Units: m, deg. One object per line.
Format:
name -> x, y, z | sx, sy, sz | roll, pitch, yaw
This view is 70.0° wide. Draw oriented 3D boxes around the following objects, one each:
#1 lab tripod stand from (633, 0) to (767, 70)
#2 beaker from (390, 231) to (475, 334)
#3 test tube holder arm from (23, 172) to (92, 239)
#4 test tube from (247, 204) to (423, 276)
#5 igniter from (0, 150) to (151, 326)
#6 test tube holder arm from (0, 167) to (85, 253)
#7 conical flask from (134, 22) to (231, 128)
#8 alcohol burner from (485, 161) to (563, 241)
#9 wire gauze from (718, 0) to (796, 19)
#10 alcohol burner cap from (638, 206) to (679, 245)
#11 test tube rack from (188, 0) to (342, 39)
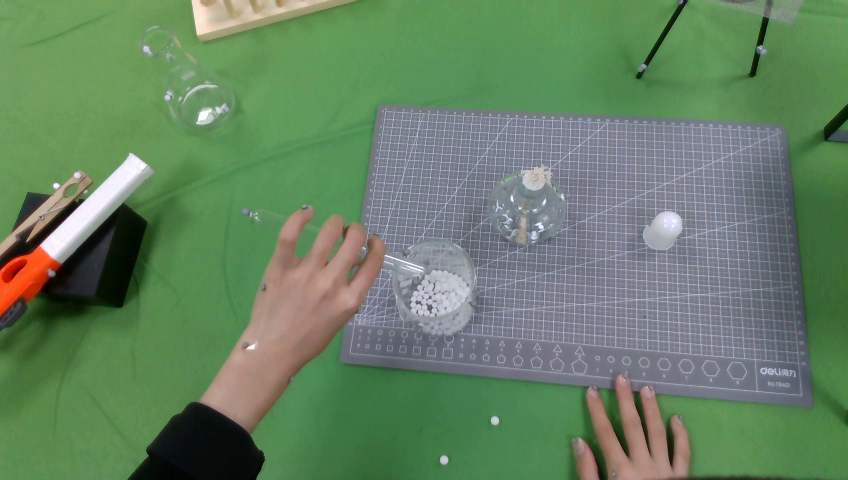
lab tripod stand -> 0.300, -0.248, 0.638 | 0.148, 0.132, 0.147 | -1, 69, 2
beaker -> 0.009, 0.048, 0.570 | 0.073, 0.101, 0.084 | 34, 76, 15
test tube holder arm -> -0.377, -0.035, 0.619 | 0.010, 0.015, 0.087 | 46, 78, -14
test tube -> -0.072, 0.000, 0.503 | 0.151, 0.017, 0.017 | 19, 71, -12
igniter -> -0.381, 0.018, 0.598 | 0.057, 0.025, 0.276 | 33, 75, 24
test tube holder arm -> -0.411, -0.007, 0.609 | 0.013, 0.015, 0.178 | 46, 78, -14
conical flask -> -0.267, -0.183, 0.661 | 0.075, 0.123, 0.075 | -1, 70, 4
alcohol burner -> 0.099, -0.043, 0.588 | 0.078, 0.120, 0.077 | -1, 69, 2
wire gauze -> 0.303, -0.272, 0.575 | 0.121, 0.011, 0.124 | 25, 75, 10
alcohol burner cap -> 0.237, -0.017, 0.607 | 0.034, 0.048, 0.033 | -1, 70, 3
test tube rack -> -0.175, -0.324, 0.724 | 0.242, 0.086, 0.066 | -16, 70, -2
